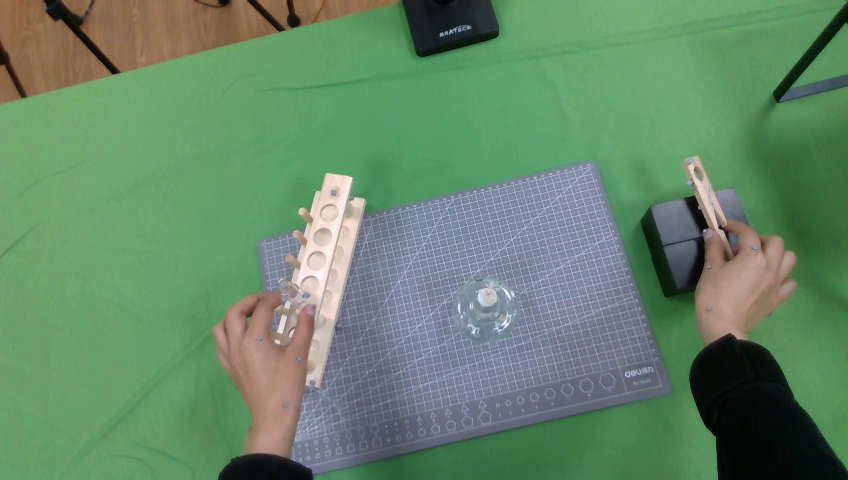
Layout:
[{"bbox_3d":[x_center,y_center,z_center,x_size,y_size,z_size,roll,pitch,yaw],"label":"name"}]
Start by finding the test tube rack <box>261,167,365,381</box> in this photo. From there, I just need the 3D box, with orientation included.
[{"bbox_3d":[-0.138,0.039,0.721,0.066,0.086,0.241,10,75,9],"label":"test tube rack"}]

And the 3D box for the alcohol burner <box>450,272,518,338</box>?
[{"bbox_3d":[0.067,0.069,0.680,0.078,0.120,0.077,-1,72,4],"label":"alcohol burner"}]

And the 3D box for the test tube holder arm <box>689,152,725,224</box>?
[{"bbox_3d":[0.320,-0.059,0.689,0.010,0.015,0.087,-16,76,2],"label":"test tube holder arm"}]

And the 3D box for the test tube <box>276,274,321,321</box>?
[{"bbox_3d":[-0.134,0.066,0.661,0.017,0.151,0.017,-1,70,3],"label":"test tube"}]

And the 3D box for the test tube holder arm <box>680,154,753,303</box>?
[{"bbox_3d":[0.326,-0.015,0.678,0.013,0.015,0.177,-16,76,2],"label":"test tube holder arm"}]
